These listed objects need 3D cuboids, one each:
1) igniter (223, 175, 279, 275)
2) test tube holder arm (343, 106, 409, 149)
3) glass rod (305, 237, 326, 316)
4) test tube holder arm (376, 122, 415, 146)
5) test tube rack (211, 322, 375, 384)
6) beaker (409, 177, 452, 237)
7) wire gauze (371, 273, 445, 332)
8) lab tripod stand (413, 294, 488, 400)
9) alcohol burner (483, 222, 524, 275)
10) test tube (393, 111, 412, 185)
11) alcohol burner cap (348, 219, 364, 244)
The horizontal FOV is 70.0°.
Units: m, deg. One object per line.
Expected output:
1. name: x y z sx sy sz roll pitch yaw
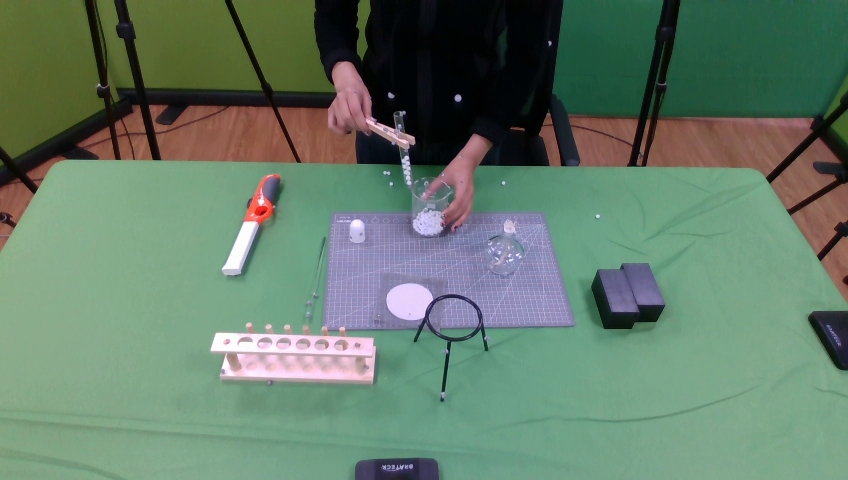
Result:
1. igniter: -0.341 -0.039 1.206 0.057 0.025 0.275 -1 45 8
2. test tube holder arm: -0.089 -0.203 1.083 0.013 0.015 0.177 -36 51 -28
3. glass rod: -0.202 0.064 1.131 0.008 0.008 0.198 4 43 0
4. test tube holder arm: -0.053 -0.187 1.062 0.087 0.015 0.010 26 53 29
5. test tube rack: -0.202 0.176 0.969 0.242 0.085 0.066 3 46 -2
6. beaker: 0.011 -0.062 1.194 0.084 0.101 0.073 -2 45 -5
7. wire gauze: -0.028 0.108 1.100 0.125 0.011 0.121 7 45 4
8. lab tripod stand: 0.044 0.159 0.972 0.148 0.132 0.147 2 44 -2
9. alcohol burner: 0.152 0.009 1.135 0.078 0.119 0.077 4 47 -4
10. test tube: -0.037 -0.158 1.062 0.017 0.151 0.017 -4 42 4
11. alcohol burner cap: -0.134 -0.019 1.190 0.034 0.048 0.033 2 46 -2
